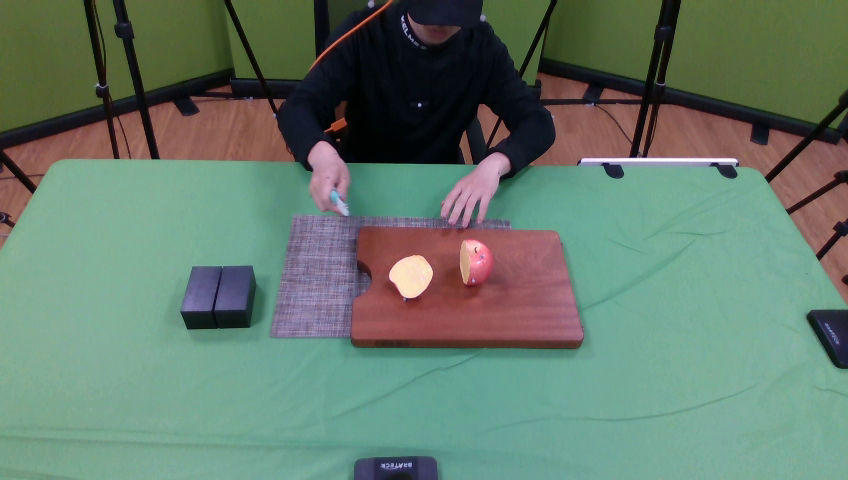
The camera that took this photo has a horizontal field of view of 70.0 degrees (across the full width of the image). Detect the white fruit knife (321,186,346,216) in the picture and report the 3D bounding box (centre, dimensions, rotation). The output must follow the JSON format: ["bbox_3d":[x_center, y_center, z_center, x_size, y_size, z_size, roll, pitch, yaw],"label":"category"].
[{"bbox_3d":[-0.157,-0.069,1.060,0.016,0.027,0.206,-12,18,-16],"label":"white fruit knife"}]

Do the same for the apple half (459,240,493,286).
[{"bbox_3d":[0.096,0.042,1.093,0.053,0.075,0.080,-1,42,-11],"label":"apple half"}]

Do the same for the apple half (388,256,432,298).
[{"bbox_3d":[-0.019,0.069,1.080,0.081,0.033,0.081,-6,63,12],"label":"apple half"}]
